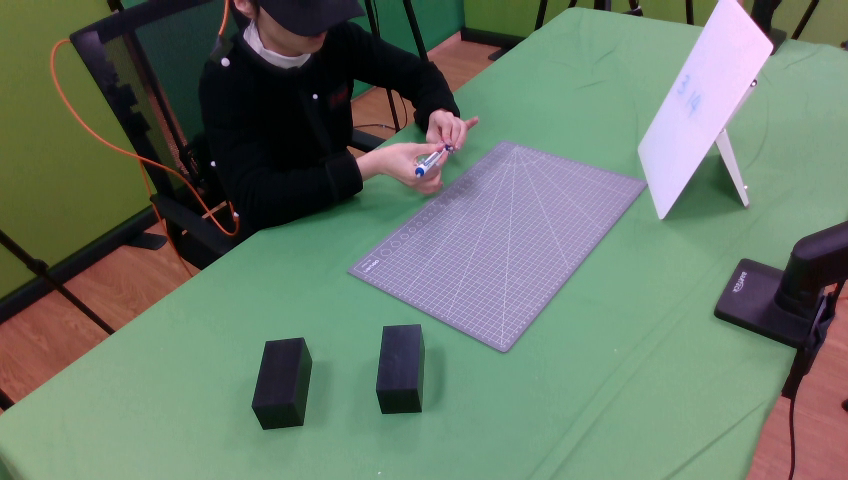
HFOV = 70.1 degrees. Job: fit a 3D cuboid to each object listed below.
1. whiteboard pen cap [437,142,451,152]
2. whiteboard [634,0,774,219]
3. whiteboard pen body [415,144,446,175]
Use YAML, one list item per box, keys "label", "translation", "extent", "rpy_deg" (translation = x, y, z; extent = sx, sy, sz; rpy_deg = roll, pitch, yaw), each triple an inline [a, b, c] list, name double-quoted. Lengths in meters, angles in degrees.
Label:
- label: "whiteboard pen cap"
  translation: [0.035, -0.164, 1.065]
  extent: [0.018, 0.018, 0.033]
  rpy_deg: [11, 11, 20]
- label: "whiteboard"
  translation: [0.485, -0.192, 0.957]
  extent: [0.144, 0.305, 0.216]
  rpy_deg: [14, 41, -4]
- label: "whiteboard pen body"
  translation: [0.015, -0.140, 1.017]
  extent: [0.017, 0.017, 0.141]
  rpy_deg: [9, 29, 18]
